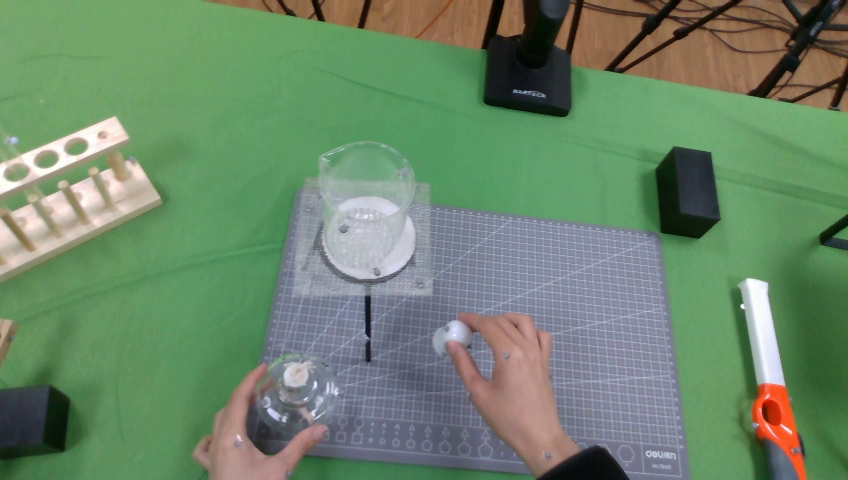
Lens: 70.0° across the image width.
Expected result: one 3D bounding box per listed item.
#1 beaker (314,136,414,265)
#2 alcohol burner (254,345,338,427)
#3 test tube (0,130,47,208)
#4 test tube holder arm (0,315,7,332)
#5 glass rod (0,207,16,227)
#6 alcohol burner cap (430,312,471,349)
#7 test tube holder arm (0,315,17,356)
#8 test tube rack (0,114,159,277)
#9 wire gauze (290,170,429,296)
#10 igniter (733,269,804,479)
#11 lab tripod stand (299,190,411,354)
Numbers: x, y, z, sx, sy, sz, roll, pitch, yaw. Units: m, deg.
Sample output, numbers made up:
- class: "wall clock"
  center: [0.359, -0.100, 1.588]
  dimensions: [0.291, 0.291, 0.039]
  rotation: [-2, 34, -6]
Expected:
- class: "beaker"
  center: [-0.055, -0.029, 0.507]
  dimensions: [0.084, 0.101, 0.073]
  rotation: [30, 63, 7]
- class: "alcohol burner"
  center: [-0.118, 0.129, 0.557]
  dimensions: [0.078, 0.120, 0.077]
  rotation: [4, 61, -8]
- class: "test tube"
  center: [-0.399, -0.076, 0.584]
  dimensions: [0.017, 0.151, 0.017]
  rotation: [4, 57, -7]
- class: "test tube holder arm"
  center: [-0.393, 0.147, 0.509]
  dimensions: [0.013, 0.015, 0.177]
  rotation: [9, 61, -4]
- class: "glass rod"
  center: [-0.431, -0.070, 0.556]
  dimensions: [0.008, 0.201, 0.008]
  rotation: [1, 56, -1]
- class: "alcohol burner cap"
  center: [0.027, 0.085, 0.580]
  dimensions: [0.034, 0.048, 0.033]
  rotation: [5, 71, -14]
- class: "test tube holder arm"
  center: [-0.383, 0.109, 0.531]
  dimensions: [0.010, 0.015, 0.087]
  rotation: [10, 61, -3]
- class: "test tube rack"
  center: [-0.409, -0.030, 0.615]
  dimensions: [0.242, 0.086, 0.066]
  rotation: [-32, 71, -22]
- class: "wire gauze"
  center: [-0.057, -0.009, 0.552]
  dimensions: [0.122, 0.011, 0.124]
  rotation: [1, 66, -6]
- class: "igniter"
  center: [0.378, 0.160, 0.667]
  dimensions: [0.057, 0.025, 0.274]
  rotation: [12, 62, -14]
- class: "lab tripod stand"
  center: [-0.062, 0.026, 0.607]
  dimensions: [0.149, 0.132, 0.147]
  rotation: [4, 63, -8]
